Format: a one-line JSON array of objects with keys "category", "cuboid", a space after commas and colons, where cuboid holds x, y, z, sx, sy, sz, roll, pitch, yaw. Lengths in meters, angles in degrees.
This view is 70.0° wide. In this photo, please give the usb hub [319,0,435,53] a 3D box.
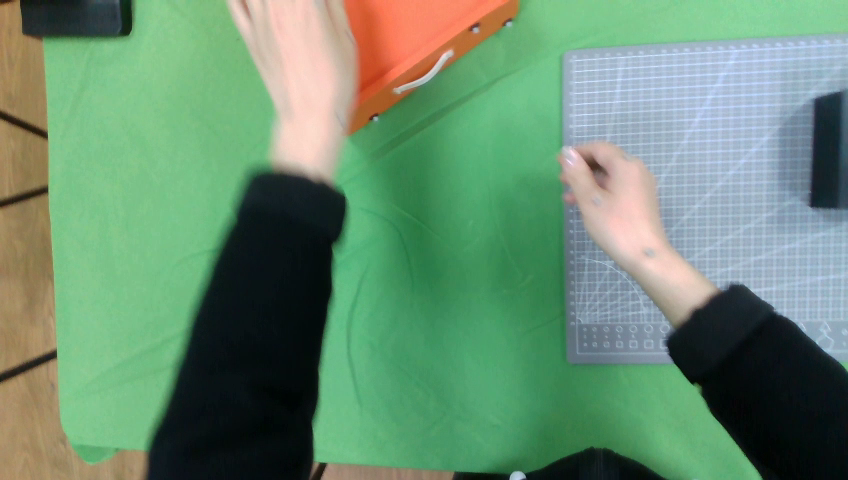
[{"category": "usb hub", "cuboid": [-0.033, -0.226, 0.559, 0.125, 0.025, 0.050, -27, 103, 17]}]

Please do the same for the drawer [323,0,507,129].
[{"category": "drawer", "cuboid": [-0.061, -0.242, 0.552, 0.194, 0.073, 0.211, -34, 89, 9]}]

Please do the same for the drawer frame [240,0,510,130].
[{"category": "drawer frame", "cuboid": [-0.063, -0.244, 0.548, 0.201, 0.083, 0.213, -34, 90, 9]}]
